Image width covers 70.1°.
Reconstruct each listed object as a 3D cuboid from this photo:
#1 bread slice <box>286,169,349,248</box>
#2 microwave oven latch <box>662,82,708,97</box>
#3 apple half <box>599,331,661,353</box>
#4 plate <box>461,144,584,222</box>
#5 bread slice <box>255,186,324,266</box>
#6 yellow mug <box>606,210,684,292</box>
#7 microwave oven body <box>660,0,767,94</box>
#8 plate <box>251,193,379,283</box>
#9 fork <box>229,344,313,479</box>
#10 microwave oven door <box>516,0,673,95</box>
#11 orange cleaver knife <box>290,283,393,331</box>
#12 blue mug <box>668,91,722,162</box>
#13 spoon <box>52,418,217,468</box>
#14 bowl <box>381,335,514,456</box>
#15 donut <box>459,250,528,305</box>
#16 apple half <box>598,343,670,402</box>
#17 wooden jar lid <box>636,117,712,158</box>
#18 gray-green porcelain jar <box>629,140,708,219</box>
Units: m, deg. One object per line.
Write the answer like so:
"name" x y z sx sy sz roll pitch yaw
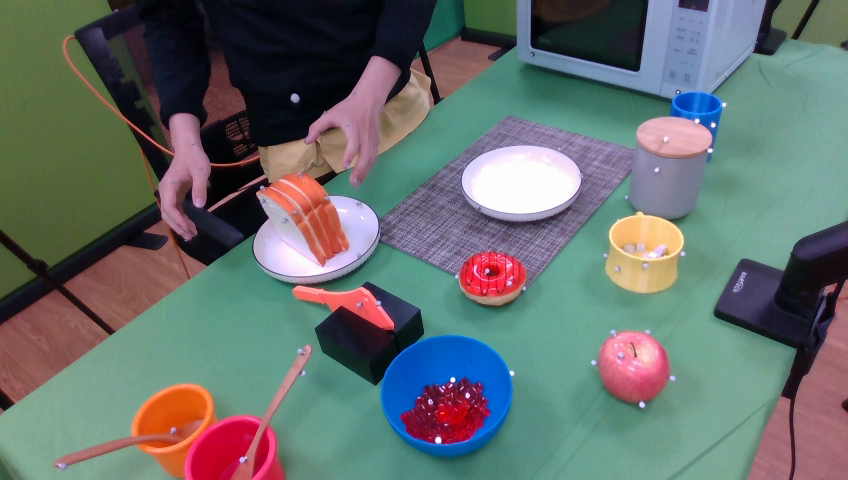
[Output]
"bread slice" -0.169 -0.053 0.959 0.019 0.132 0.104 -41 49 -22
"microwave oven latch" 0.517 -0.298 1.202 0.078 0.029 0.030 27 52 34
"apple half" 0.249 0.134 0.738 0.081 0.081 0.032 -1 46 7
"plate" 0.168 -0.095 1.040 0.207 0.039 0.206 -4 40 4
"bread slice" -0.211 -0.027 0.936 0.106 0.135 0.018 27 61 35
"yellow mug" 0.318 0.008 0.883 0.100 0.064 0.130 0 41 9
"microwave oven body" 0.473 -0.516 1.313 0.438 0.261 0.327 26 51 34
"plate" -0.174 -0.001 0.984 0.209 0.038 0.208 -4 41 4
"fork" -0.173 0.205 0.662 0.028 0.019 0.207 29 94 35
"microwave oven door" 0.344 -0.458 1.256 0.353 0.245 0.039 26 51 33
"orange cleaver knife" -0.118 0.091 0.835 0.209 0.077 0.012 1 35 48
"blue mug" 0.475 -0.207 1.078 0.082 0.106 0.116 4 42 13
"spoon" -0.308 0.220 0.663 0.041 0.195 0.021 21 93 29
"bowl" 0.029 0.192 0.701 0.151 0.077 0.150 -4 40 4
"donut" 0.100 0.053 0.872 0.099 0.048 0.098 -5 41 4
"apple half" 0.247 0.161 0.710 0.081 0.075 0.053 2 47 5
"wooden jar lid" 0.377 -0.151 0.917 0.108 0.021 0.108 -2 42 2
"gray-green porcelain jar" 0.383 -0.105 0.958 0.106 0.127 0.105 -4 41 4
